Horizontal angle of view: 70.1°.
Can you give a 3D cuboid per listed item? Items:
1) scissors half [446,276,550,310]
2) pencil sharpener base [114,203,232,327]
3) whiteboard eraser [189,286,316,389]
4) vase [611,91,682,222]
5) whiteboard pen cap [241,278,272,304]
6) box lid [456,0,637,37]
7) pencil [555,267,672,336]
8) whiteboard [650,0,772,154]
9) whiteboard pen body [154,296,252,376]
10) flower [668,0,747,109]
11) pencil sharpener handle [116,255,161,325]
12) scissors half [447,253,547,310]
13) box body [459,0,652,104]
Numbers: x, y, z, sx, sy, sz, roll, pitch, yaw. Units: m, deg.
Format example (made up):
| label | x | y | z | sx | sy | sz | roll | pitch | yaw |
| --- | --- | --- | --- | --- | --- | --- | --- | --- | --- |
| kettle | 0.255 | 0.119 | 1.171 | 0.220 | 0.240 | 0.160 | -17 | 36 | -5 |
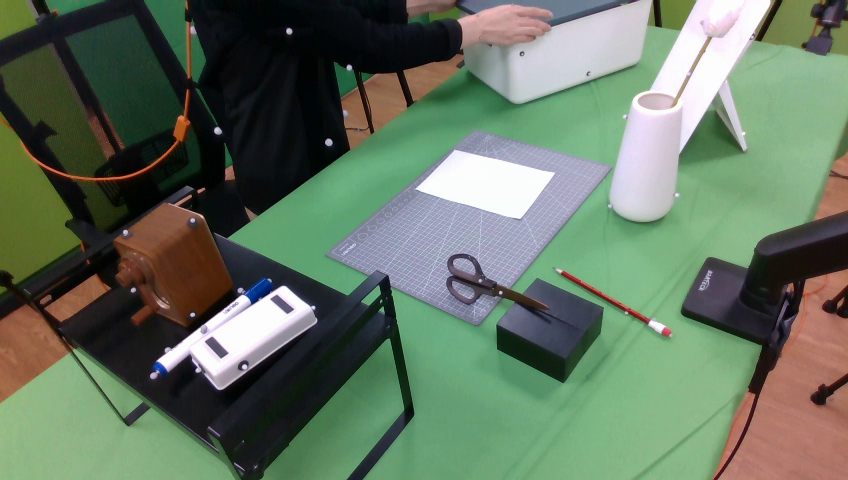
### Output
| label | x | y | z | sx | sy | sz | roll | pitch | yaw |
| --- | --- | --- | --- | --- | --- | --- | --- | --- | --- |
| scissors half | 0.098 | 0.077 | 0.827 | 0.174 | 0.040 | 0.013 | 6 | 14 | 44 |
| pencil sharpener base | -0.262 | 0.029 | 0.635 | 0.061 | 0.107 | 0.077 | 18 | 47 | 26 |
| whiteboard eraser | -0.166 | 0.096 | 0.593 | 0.113 | 0.042 | 0.055 | -36 | 46 | -29 |
| vase | 0.348 | -0.125 | 0.935 | 0.098 | 0.201 | 0.097 | -3 | 40 | 3 |
| whiteboard pen cap | -0.184 | 0.057 | 0.658 | 0.018 | 0.018 | 0.033 | 19 | 44 | 28 |
| box lid | 0.282 | -0.528 | 1.316 | 0.373 | 0.015 | 0.261 | -22 | 42 | -16 |
| pencil | 0.260 | 0.082 | 0.850 | 0.012 | 0.012 | 0.192 | -33 | 46 | -27 |
| whiteboard | 0.543 | -0.298 | 1.076 | 0.144 | 0.305 | 0.216 | 12 | 40 | -7 |
| whiteboard pen body | -0.215 | 0.088 | 0.619 | 0.017 | 0.017 | 0.141 | 19 | 42 | 28 |
| flower | 0.354 | -0.187 | 0.879 | 0.038 | 0.362 | 0.044 | 31 | 48 | 15 |
| pencil sharpener handle | -0.286 | 0.050 | 0.594 | 0.035 | 0.068 | 0.031 | 7 | 41 | 35 |
| scissors half | 0.098 | 0.058 | 0.821 | 0.173 | 0.040 | 0.013 | 27 | 34 | 36 |
| box body | 0.291 | -0.465 | 1.371 | 0.365 | 0.161 | 0.252 | -22 | 42 | -16 |
